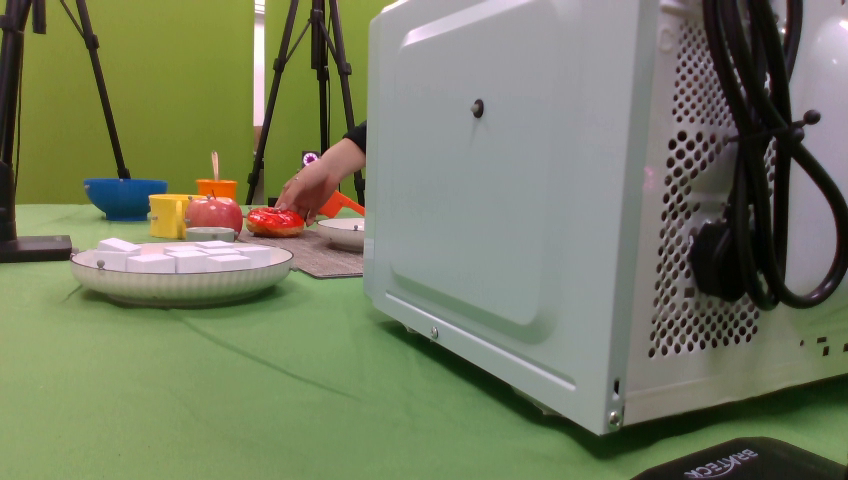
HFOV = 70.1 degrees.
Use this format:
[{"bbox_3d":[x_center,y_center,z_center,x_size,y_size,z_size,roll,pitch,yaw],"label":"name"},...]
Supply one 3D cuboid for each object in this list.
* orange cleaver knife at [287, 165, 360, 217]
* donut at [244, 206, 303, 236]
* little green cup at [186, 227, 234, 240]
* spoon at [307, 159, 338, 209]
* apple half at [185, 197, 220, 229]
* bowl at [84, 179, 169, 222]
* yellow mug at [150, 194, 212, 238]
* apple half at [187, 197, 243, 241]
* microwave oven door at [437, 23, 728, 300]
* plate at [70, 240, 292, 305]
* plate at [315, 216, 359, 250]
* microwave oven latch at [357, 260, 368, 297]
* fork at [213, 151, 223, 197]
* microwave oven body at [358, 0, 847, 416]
[{"bbox_3d":[-0.211,-0.093,1.382,0.212,0.077,0.012,33,1,-15],"label":"orange cleaver knife"},{"bbox_3d":[-0.257,-0.032,1.036,0.099,0.048,0.099,7,10,-1],"label":"donut"},{"bbox_3d":[-0.284,0.005,0.805,0.061,0.038,0.061,2,8,0],"label":"little green cup"},{"bbox_3d":[-0.257,-0.147,1.567,0.041,0.022,0.193,2,50,19],"label":"spoon"},{"bbox_3d":[-0.338,-0.031,0.927,0.032,0.081,0.081,12,12,31],"label":"apple half"},{"bbox_3d":[-0.584,-0.078,1.194,0.151,0.077,0.151,3,8,0],"label":"bowl"},{"bbox_3d":[-0.401,-0.039,1.003,0.100,0.064,0.130,0,9,-20],"label":"yellow mug"},{"bbox_3d":[-0.305,-0.026,0.907,0.053,0.074,0.081,12,8,31],"label":"apple half"},{"bbox_3d":[0.181,-0.072,0.621,0.358,0.243,0.039,-2,8,-29],"label":"microwave oven door"},{"bbox_3d":[-0.242,0.031,0.618,0.208,0.039,0.207,2,7,0],"label":"plate"},{"bbox_3d":[-0.068,-0.010,0.963,0.209,0.038,0.209,3,8,0],"label":"plate"},{"bbox_3d":[-0.019,0.033,0.531,0.079,0.029,0.030,-1,7,-27],"label":"microwave oven latch"},{"bbox_3d":[-0.494,-0.143,1.442,0.028,0.018,0.206,-2,52,-20],"label":"fork"},{"bbox_3d":[0.211,-0.047,0.474,0.444,0.260,0.324,-1,7,-28],"label":"microwave oven body"}]
